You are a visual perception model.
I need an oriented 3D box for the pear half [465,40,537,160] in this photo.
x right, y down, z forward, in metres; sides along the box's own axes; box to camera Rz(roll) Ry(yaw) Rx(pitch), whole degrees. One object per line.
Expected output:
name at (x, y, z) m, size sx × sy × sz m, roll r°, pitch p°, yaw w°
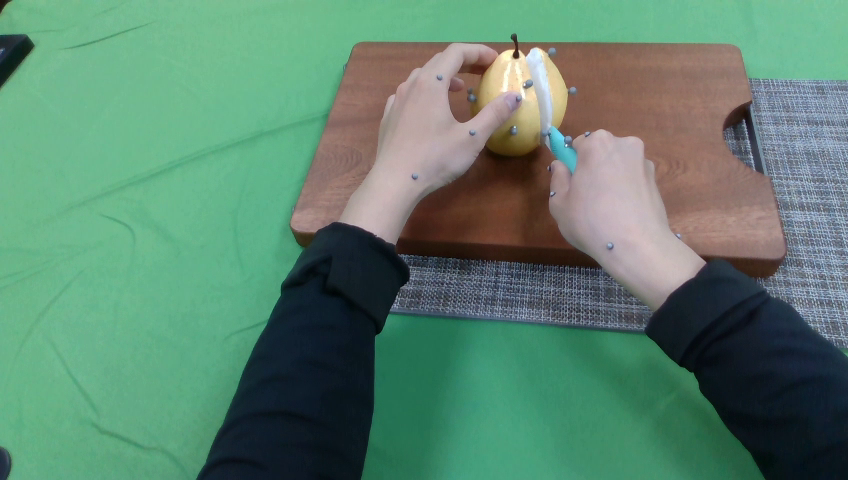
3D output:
pear half at (0.063, -0.119, 0.516) m, size 0.056 × 0.111 × 0.075 m, roll -19°, pitch 48°, yaw -8°

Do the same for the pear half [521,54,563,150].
pear half at (0.103, -0.123, 0.529) m, size 0.031 × 0.089 × 0.069 m, roll -18°, pitch 49°, yaw -17°

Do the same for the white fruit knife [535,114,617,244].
white fruit knife at (0.106, -0.079, 0.507) m, size 0.016 × 0.028 × 0.205 m, roll -13°, pitch 49°, yaw -12°
